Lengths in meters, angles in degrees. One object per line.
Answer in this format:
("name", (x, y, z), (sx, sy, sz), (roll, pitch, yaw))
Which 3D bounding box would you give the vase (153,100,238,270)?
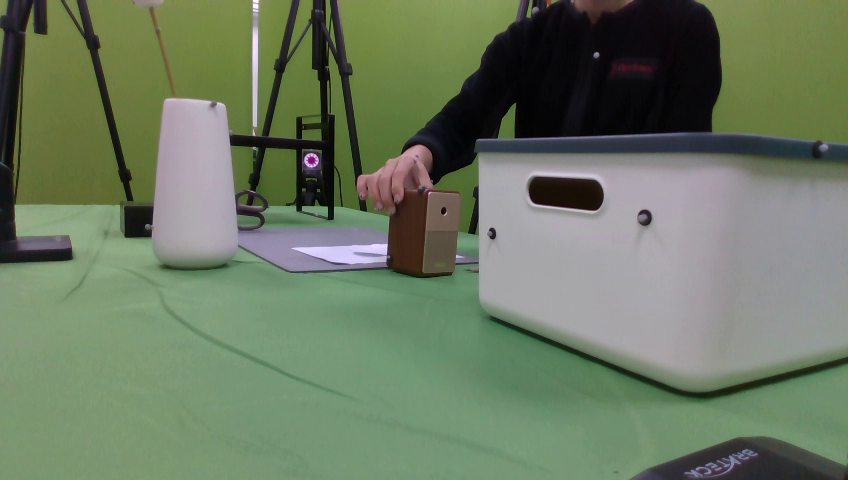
("vase", (-0.278, -0.066, 0.736), (0.098, 0.200, 0.098), (2, 9, 0))

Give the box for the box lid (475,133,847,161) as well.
("box lid", (0.255, -0.073, 0.528), (0.373, 0.015, 0.262), (-2, 8, -31))

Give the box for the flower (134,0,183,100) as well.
("flower", (-0.282, -0.147, 0.713), (0.038, 0.362, 0.044), (-23, 24, -31))

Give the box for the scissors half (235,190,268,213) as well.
("scissors half", (-0.363, -0.070, 1.060), (0.176, 0.040, 0.013), (0, 16, -23))

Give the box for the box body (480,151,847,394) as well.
("box body", (0.254, 0.002, 0.539), (0.366, 0.160, 0.253), (-2, 8, -31))

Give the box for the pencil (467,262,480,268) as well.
("pencil", (0.149, 0.039, 0.800), (0.195, 0.012, 0.012), (5, 7, -13))

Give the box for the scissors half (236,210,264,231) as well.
("scissors half", (-0.369, -0.051, 1.065), (0.176, 0.040, 0.012), (19, 13, -27))

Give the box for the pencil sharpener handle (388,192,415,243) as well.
("pencil sharpener handle", (-0.035, -0.030, 0.799), (0.036, 0.067, 0.030), (-7, 12, -42))

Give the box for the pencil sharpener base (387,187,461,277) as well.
("pencil sharpener base", (-0.002, -0.012, 0.763), (0.062, 0.107, 0.076), (-1, 7, -43))
